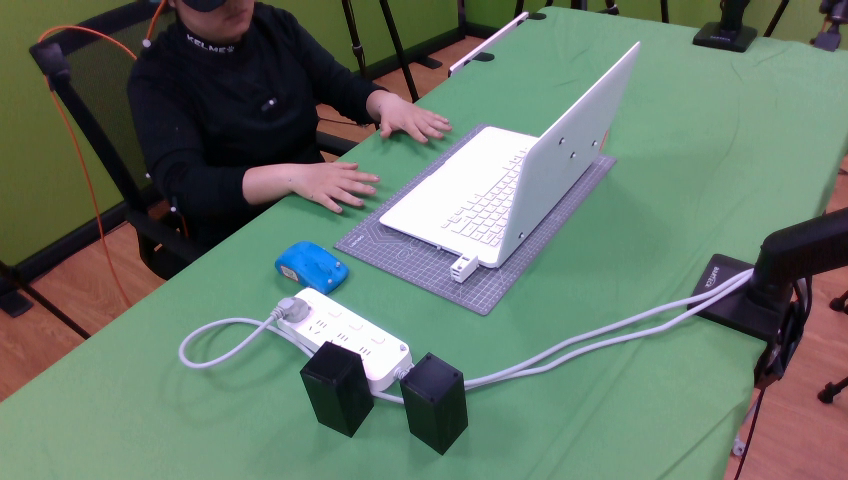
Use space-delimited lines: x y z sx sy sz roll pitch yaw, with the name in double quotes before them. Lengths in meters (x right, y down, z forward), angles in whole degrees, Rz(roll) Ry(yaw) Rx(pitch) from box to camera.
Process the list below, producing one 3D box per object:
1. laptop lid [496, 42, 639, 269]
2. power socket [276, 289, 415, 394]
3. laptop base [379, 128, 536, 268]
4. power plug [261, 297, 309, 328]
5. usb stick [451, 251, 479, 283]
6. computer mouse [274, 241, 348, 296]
"laptop lid" 0.220 -0.130 0.913 0.013 0.242 0.357 31 51 21
"power socket" -0.114 0.133 0.820 0.225 0.033 0.072 25 49 33
"laptop base" 0.118 -0.088 1.058 0.233 0.023 0.355 19 47 32
"power plug" -0.193 0.107 0.831 0.073 0.053 0.035 -32 43 -25
"usb stick" 0.065 0.036 0.900 0.021 0.027 0.059 24 46 32
"computer mouse" -0.175 0.040 0.936 0.116 0.041 0.063 27 48 27
